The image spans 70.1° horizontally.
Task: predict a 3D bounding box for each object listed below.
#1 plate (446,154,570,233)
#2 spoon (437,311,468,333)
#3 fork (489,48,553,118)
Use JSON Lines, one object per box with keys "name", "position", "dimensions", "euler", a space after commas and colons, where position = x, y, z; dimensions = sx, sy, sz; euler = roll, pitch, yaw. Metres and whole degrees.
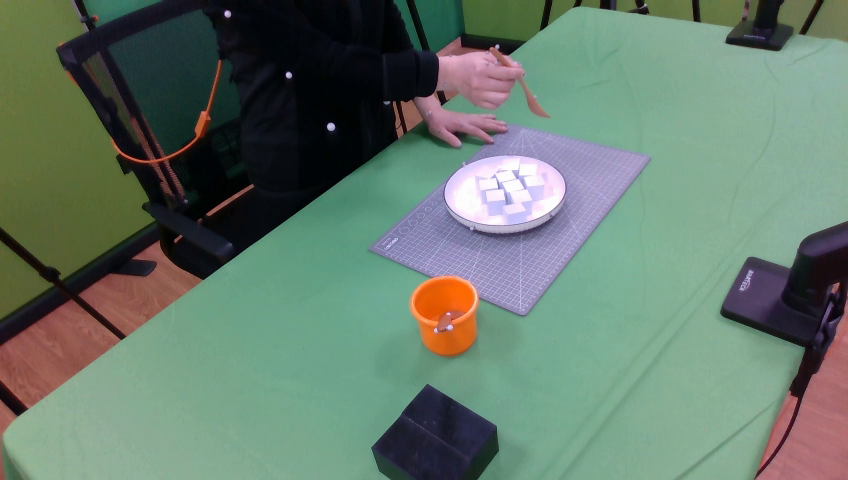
{"name": "plate", "position": [0.142, -0.076, 1.033], "dimensions": [0.207, 0.039, 0.206], "euler": [-5, 40, 5]}
{"name": "spoon", "position": [0.030, 0.102, 0.761], "dimensions": [0.041, 0.194, 0.021], "euler": [3, 85, 8]}
{"name": "fork", "position": [0.160, -0.251, 0.985], "dimensions": [0.028, 0.209, 0.018], "euler": [28, 84, 43]}
